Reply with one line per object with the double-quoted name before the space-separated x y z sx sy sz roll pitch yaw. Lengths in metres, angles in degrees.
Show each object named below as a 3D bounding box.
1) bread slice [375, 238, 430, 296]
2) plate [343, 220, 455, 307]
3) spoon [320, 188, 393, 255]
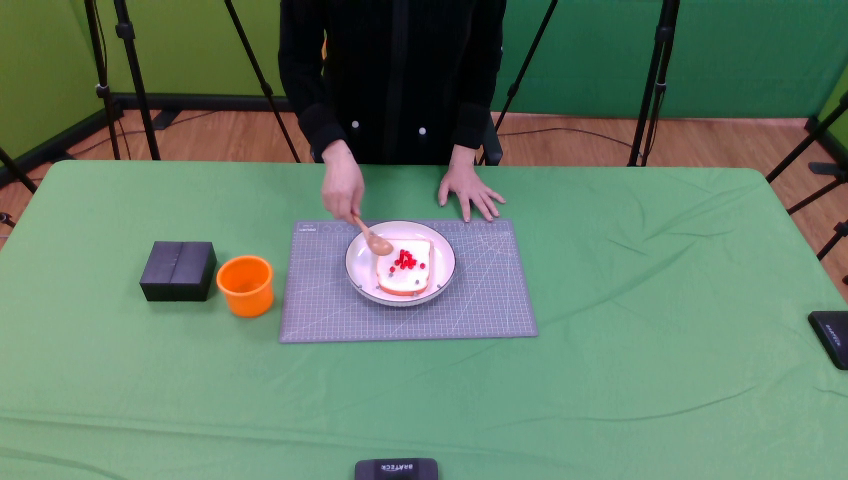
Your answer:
"bread slice" -0.039 0.048 1.135 0.107 0.018 0.133 -1 47 -4
"plate" -0.047 0.046 1.135 0.209 0.038 0.208 2 46 -2
"spoon" -0.127 -0.037 1.117 0.041 0.022 0.193 -29 67 -38
